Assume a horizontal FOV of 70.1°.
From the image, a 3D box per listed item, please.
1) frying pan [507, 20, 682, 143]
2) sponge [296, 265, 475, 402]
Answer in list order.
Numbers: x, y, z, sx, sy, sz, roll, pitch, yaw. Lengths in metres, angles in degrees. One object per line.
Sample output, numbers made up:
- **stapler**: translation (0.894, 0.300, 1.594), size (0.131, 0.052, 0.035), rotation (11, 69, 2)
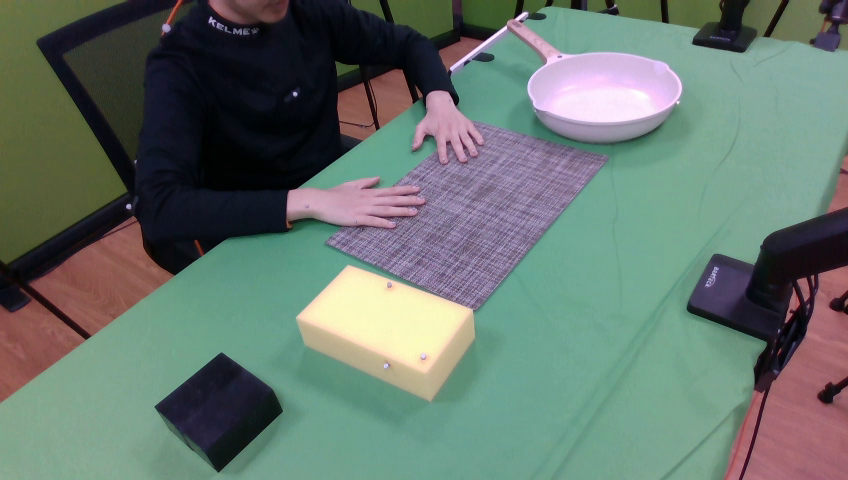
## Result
- **frying pan**: translation (0.312, -0.352, 1.271), size (0.308, 0.103, 0.483), rotation (-20, 51, -16)
- **sponge**: translation (-0.050, 0.118, 0.811), size (0.205, 0.061, 0.118), rotation (17, 47, 26)
